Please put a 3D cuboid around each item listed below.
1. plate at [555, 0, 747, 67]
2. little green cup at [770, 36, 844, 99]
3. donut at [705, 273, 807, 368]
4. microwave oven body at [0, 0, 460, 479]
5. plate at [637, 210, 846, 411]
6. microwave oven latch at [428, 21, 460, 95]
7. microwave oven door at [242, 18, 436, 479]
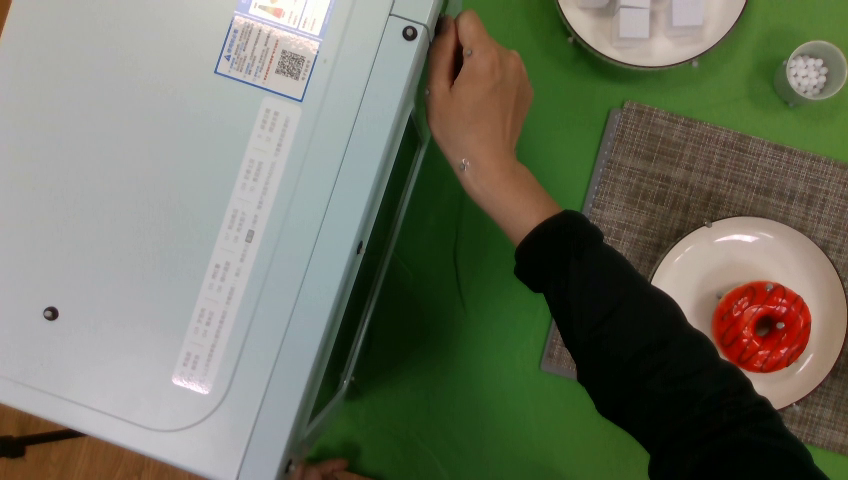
[{"bbox_3d":[0.237,-0.285,0.644,0.207,0.039,0.207,0,91,3],"label":"plate"},{"bbox_3d":[0.399,-0.178,0.637,0.061,0.038,0.061,0,90,3],"label":"little green cup"},{"bbox_3d":[0.343,0.083,0.628,0.099,0.048,0.099,0,92,5],"label":"donut"},{"bbox_3d":[-0.187,-0.075,0.554,0.326,0.260,0.441,18,92,3],"label":"microwave oven body"},{"bbox_3d":[0.328,0.073,0.640,0.209,0.038,0.209,0,91,4],"label":"plate"},{"bbox_3d":[0.015,-0.197,0.638,0.030,0.029,0.079,21,92,2],"label":"microwave oven latch"},{"bbox_3d":[-0.063,0.012,0.543,0.039,0.244,0.355,18,91,3],"label":"microwave oven door"}]
